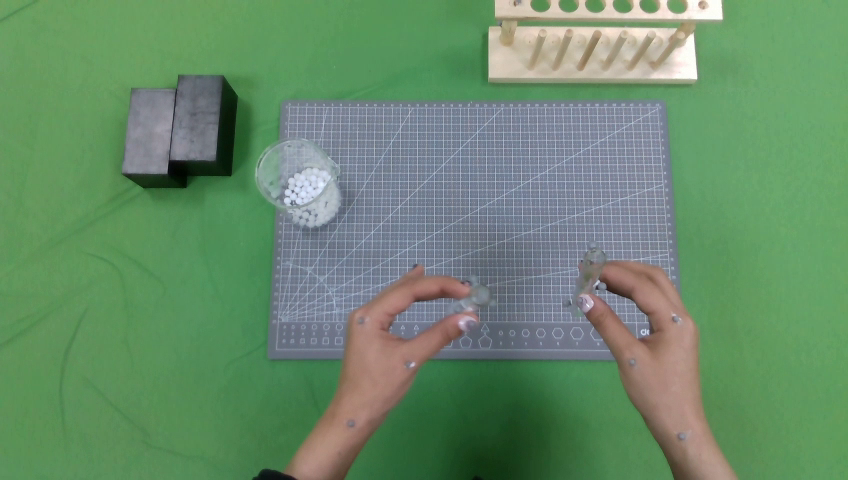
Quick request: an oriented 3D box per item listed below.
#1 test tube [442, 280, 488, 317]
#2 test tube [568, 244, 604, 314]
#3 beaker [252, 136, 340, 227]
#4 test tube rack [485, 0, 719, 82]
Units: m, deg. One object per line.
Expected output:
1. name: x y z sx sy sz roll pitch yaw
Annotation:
1. test tube: 0.029 0.048 0.472 0.017 0.150 0.017 1 79 -4
2. test tube: 0.129 0.036 0.490 0.017 0.151 0.017 -3 69 8
3. beaker: -0.127 -0.058 0.642 0.084 0.100 0.073 -8 78 -2
4. test tube rack: 0.194 -0.230 0.685 0.242 0.085 0.066 1 78 1
